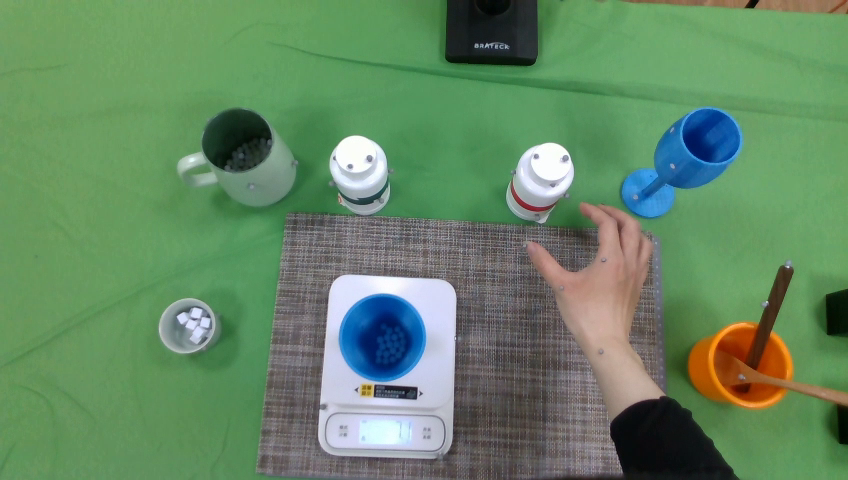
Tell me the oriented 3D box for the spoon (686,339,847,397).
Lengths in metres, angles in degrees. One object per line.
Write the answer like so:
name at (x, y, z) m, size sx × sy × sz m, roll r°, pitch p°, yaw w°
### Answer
spoon at (0.375, 0.142, 0.638) m, size 0.022 × 0.192 × 0.041 m, roll 22°, pitch 81°, yaw -40°

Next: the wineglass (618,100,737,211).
wineglass at (0.276, -0.088, 0.677) m, size 0.074 × 0.173 × 0.073 m, roll 0°, pitch 76°, yaw 0°

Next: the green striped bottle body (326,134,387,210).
green striped bottle body at (-0.076, -0.080, 0.694) m, size 0.063 × 0.120 × 0.063 m, roll 0°, pitch 76°, yaw -1°

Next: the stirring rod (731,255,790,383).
stirring rod at (0.358, 0.090, 0.649) m, size 0.014 × 0.177 × 0.006 m, roll 9°, pitch 35°, yaw 15°

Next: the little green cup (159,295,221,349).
little green cup at (-0.262, 0.095, 0.689) m, size 0.061 × 0.039 × 0.061 m, roll 1°, pitch 76°, yaw -3°

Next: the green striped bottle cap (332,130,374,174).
green striped bottle cap at (-0.076, -0.094, 0.644) m, size 0.044 × 0.020 × 0.044 m, roll 1°, pitch 75°, yaw -2°

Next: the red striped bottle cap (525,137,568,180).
red striped bottle cap at (0.131, -0.087, 0.646) m, size 0.044 × 0.018 × 0.044 m, roll 0°, pitch 74°, yaw -1°

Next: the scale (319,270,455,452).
scale at (-0.040, 0.134, 0.685) m, size 0.149 × 0.032 × 0.200 m, roll 2°, pitch 77°, yaw -1°

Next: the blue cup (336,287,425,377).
blue cup at (-0.043, 0.098, 0.627) m, size 0.093 × 0.100 × 0.092 m, roll 1°, pitch 78°, yaw -3°

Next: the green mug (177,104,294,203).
green mug at (-0.220, -0.093, 0.701) m, size 0.125 × 0.105 × 0.092 m, roll -19°, pitch 78°, yaw -5°

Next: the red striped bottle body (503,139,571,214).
red striped bottle body at (0.130, -0.075, 0.698) m, size 0.063 × 0.120 × 0.062 m, roll 0°, pitch 76°, yaw -2°
